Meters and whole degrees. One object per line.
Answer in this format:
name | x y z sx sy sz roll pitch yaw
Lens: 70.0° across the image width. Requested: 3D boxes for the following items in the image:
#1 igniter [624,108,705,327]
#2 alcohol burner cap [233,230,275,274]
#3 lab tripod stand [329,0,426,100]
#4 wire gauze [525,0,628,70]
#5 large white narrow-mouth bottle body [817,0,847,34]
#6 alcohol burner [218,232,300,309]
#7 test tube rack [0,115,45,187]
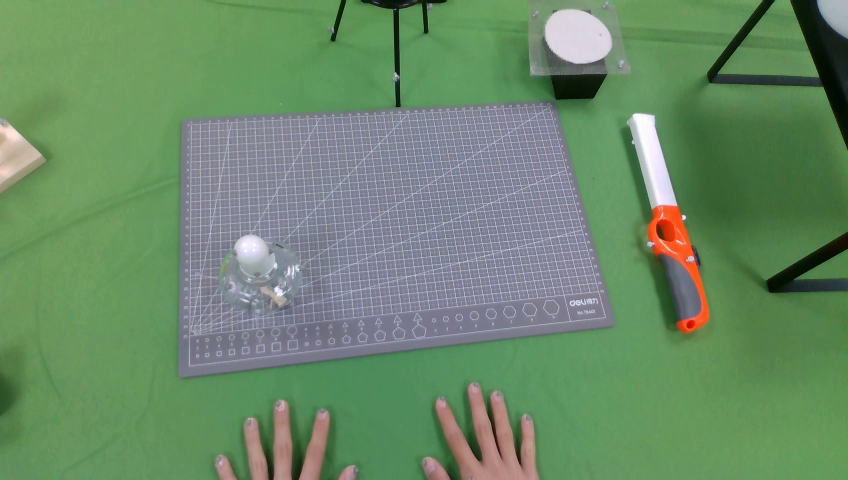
igniter | 0.278 -0.033 0.705 0.057 0.025 0.274 2 67 -18
alcohol burner cap | -0.155 0.009 0.544 0.034 0.048 0.033 1 72 -3
lab tripod stand | -0.042 -0.262 0.707 0.149 0.132 0.147 3 67 -7
wire gauze | 0.185 -0.258 0.748 0.122 0.011 0.124 2 66 -6
large white narrow-mouth bottle body | 0.462 -0.283 0.547 0.102 0.196 0.101 3 66 -6
alcohol burner | -0.159 0.022 0.577 0.078 0.120 0.077 4 65 -7
test tube rack | -0.511 -0.049 0.582 0.066 0.085 0.242 40 68 11
